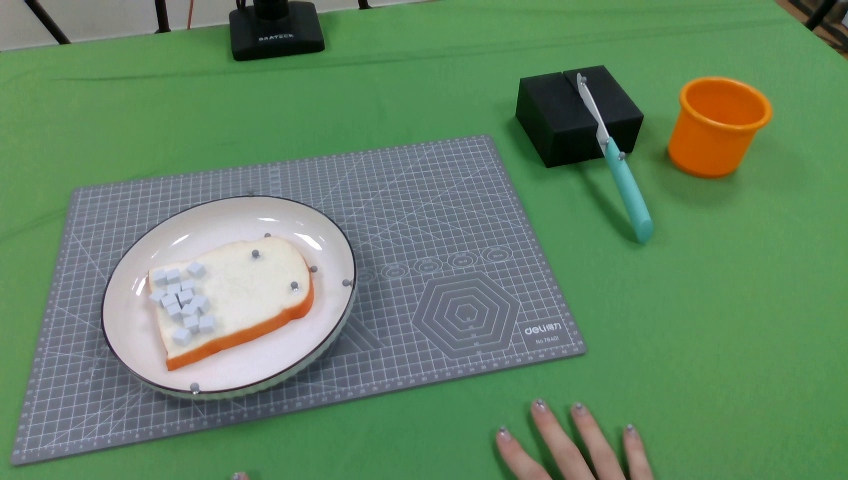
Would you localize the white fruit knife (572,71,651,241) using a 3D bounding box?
[{"bbox_3d":[0.188,-0.094,0.623,0.016,0.027,0.205,-11,64,-10],"label":"white fruit knife"}]

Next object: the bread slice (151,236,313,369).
[{"bbox_3d":[-0.165,0.043,0.526,0.132,0.019,0.103,-22,53,-17],"label":"bread slice"}]

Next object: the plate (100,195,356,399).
[{"bbox_3d":[-0.162,0.045,0.521,0.209,0.038,0.207,1,49,-1],"label":"plate"}]
